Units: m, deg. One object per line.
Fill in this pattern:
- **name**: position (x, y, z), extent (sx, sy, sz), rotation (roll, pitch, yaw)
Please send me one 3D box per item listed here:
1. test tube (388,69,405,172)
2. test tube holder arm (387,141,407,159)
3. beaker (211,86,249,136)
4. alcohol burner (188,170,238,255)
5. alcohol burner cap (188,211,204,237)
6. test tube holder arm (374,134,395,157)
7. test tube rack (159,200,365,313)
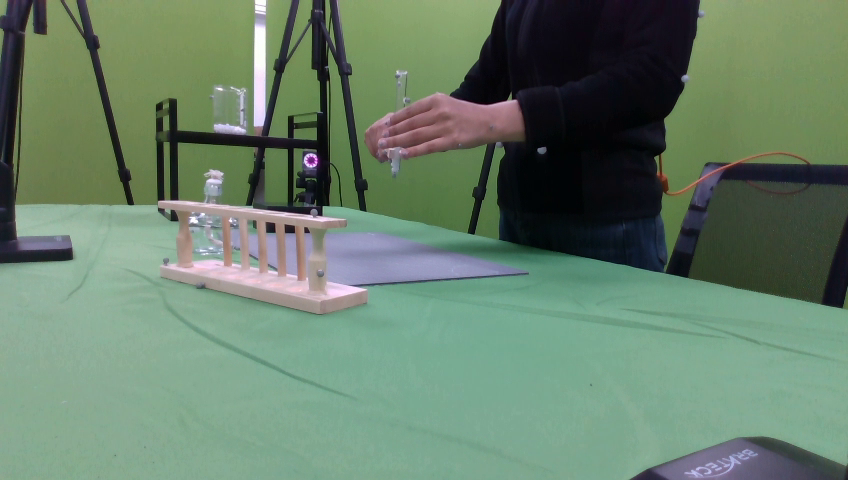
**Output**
- **test tube**: position (-0.039, -0.168, 0.864), extent (0.017, 0.150, 0.017), rotation (4, 27, -2)
- **test tube holder arm**: position (-0.045, -0.135, 0.905), extent (0.010, 0.015, 0.087), rotation (7, 15, -26)
- **beaker**: position (-0.413, -0.274, 1.297), extent (0.074, 0.100, 0.083), rotation (-5, 11, -44)
- **alcohol burner**: position (-0.298, -0.039, 0.852), extent (0.078, 0.119, 0.078), rotation (3, 6, 0)
- **alcohol burner cap**: position (-0.389, -0.029, 1.026), extent (0.034, 0.048, 0.034), rotation (2, 8, 0)
- **test tube holder arm**: position (-0.063, -0.149, 0.944), extent (0.013, 0.015, 0.178), rotation (11, 14, -16)
- **test tube rack**: position (-0.173, 0.008, 0.624), extent (0.241, 0.085, 0.067), rotation (7, 9, 34)
